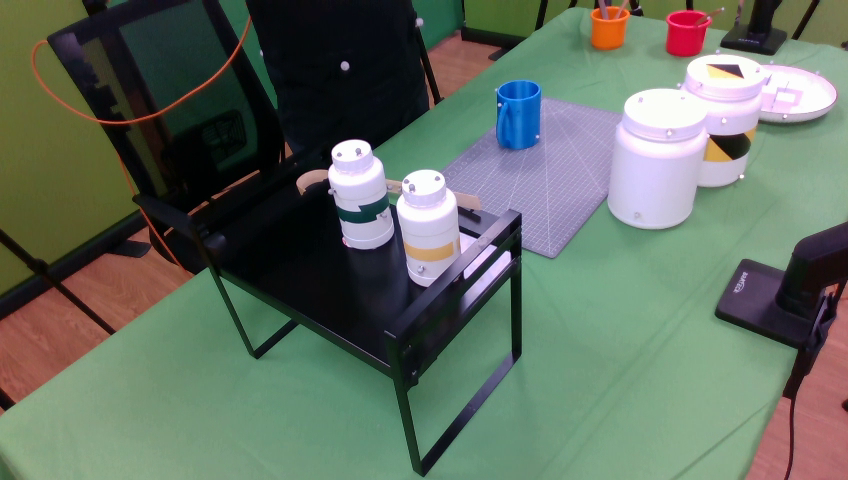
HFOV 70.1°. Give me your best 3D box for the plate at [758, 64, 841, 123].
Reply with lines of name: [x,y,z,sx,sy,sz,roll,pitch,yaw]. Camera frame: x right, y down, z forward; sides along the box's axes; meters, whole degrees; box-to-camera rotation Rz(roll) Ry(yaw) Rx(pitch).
plate: [0.694,-0.283,1.189,0.207,0.039,0.206,-4,40,4]

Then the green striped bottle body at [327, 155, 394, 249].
green striped bottle body: [-0.073,-0.053,0.699,0.063,0.120,0.063,-5,41,4]

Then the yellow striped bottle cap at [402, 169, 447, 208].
yellow striped bottle cap: [0.000,-0.052,0.605,0.044,0.019,0.044,-5,42,5]

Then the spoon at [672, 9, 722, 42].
spoon: [0.606,-0.476,1.345,0.042,0.021,0.193,-6,-3,-2]

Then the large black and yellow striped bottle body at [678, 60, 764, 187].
large black and yellow striped bottle body: [0.482,-0.196,1.007,0.131,0.185,0.130,-4,41,4]

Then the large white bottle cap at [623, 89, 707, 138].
large white bottle cap: [0.352,-0.187,0.886,0.115,0.018,0.114,-4,41,4]

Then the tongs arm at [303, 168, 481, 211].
tongs arm: [-0.070,-0.086,1.048,0.381,0.026,0.051,16,46,39]

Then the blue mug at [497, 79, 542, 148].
blue mug: [0.174,-0.234,1.156,0.081,0.106,0.117,24,50,32]

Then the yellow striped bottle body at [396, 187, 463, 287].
yellow striped bottle body: [0.006,-0.013,0.638,0.063,0.121,0.062,-5,41,4]

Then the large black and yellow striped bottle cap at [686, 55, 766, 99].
large black and yellow striped bottle cap: [0.474,-0.258,0.952,0.115,0.019,0.114,-5,41,5]

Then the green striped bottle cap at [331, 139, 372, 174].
green striped bottle cap: [-0.080,-0.092,0.665,0.044,0.020,0.044,-3,41,3]

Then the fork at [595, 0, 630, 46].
fork: [0.480,-0.556,1.453,0.028,0.019,0.207,41,104,40]

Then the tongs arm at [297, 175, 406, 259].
tongs arm: [-0.128,-0.043,1.007,0.028,0.028,0.384,-36,38,-20]

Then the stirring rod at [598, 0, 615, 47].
stirring rod: [0.437,-0.551,1.462,0.014,0.006,0.175,-11,83,1]

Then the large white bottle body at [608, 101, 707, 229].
large white bottle body: [0.361,-0.124,0.941,0.130,0.185,0.130,-5,41,4]
